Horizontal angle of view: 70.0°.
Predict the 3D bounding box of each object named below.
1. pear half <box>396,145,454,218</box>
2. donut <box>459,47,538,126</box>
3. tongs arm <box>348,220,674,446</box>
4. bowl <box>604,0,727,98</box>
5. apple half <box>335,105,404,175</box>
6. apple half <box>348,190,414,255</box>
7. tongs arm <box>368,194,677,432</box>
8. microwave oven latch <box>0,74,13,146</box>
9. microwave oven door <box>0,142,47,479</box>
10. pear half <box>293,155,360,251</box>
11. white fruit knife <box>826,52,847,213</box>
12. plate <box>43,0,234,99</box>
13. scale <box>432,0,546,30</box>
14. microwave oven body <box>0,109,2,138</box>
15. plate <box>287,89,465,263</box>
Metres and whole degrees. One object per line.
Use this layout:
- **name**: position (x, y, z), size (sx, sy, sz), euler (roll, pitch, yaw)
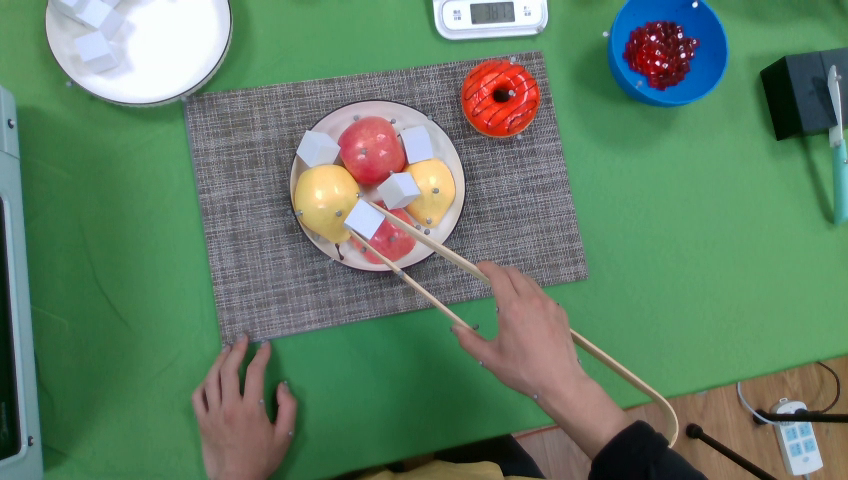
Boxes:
- **pear half**: position (0.000, -0.072, 0.722), size (0.070, 0.031, 0.087), euler (-9, 83, 6)
- **donut**: position (0.091, -0.189, 0.748), size (0.099, 0.048, 0.099), euler (0, 85, -4)
- **tongs arm**: position (0.082, 0.086, 0.621), size (0.383, 0.026, 0.050), euler (40, 77, 7)
- **bowl**: position (0.290, -0.244, 0.764), size (0.151, 0.077, 0.151), euler (1, 85, -6)
- **apple half**: position (-0.065, -0.118, 0.708), size (0.075, 0.053, 0.081), euler (-22, 90, -6)
- **apple half**: position (-0.050, -0.022, 0.708), size (0.081, 0.033, 0.081), euler (1, 78, -6)
- **tongs arm**: position (0.096, 0.068, 0.626), size (0.386, 0.028, 0.028), euler (36, 73, 7)
- **microwave oven latch**: position (-0.473, -0.144, 0.665), size (0.030, 0.029, 0.079), euler (-5, 85, -8)
- **microwave oven door**: position (-0.433, 0.061, 0.546), size (0.039, 0.244, 0.355), euler (-8, 85, -7)
- **pear half**: position (-0.106, -0.043, 0.691), size (0.076, 0.056, 0.110), euler (-16, 89, -16)
- **white fruit knife**: position (0.531, -0.136, 0.781), size (0.016, 0.027, 0.208), euler (-12, 100, -8)
- **plate**: position (-0.329, -0.263, 0.713), size (0.208, 0.039, 0.207), euler (1, 84, -7)
- **scale**: position (0.076, -0.373, 0.775), size (0.149, 0.031, 0.200), euler (-6, 85, -7)
- **microwave oven body**: position (-0.583, 0.039, 0.536), size (0.326, 0.260, 0.440), euler (-8, 86, -8)
- **plate**: position (-0.056, -0.074, 0.722), size (0.209, 0.038, 0.208), euler (1, 84, -7)
